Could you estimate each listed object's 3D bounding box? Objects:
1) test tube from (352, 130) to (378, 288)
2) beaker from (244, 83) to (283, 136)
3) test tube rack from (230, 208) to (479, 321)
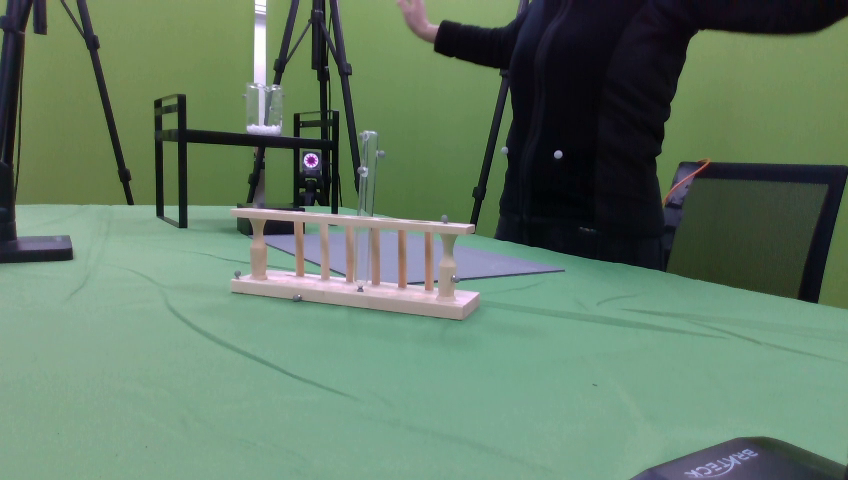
[{"bbox_3d":[-0.057,-0.029,0.575,0.017,0.150,0.017,4,4,0],"label":"test tube"},{"bbox_3d":[-0.322,-0.260,1.215,0.074,0.100,0.083,-1,9,-27],"label":"beaker"},{"bbox_3d":[-0.069,0.017,0.598,0.242,0.085,0.067,5,8,18],"label":"test tube rack"}]
